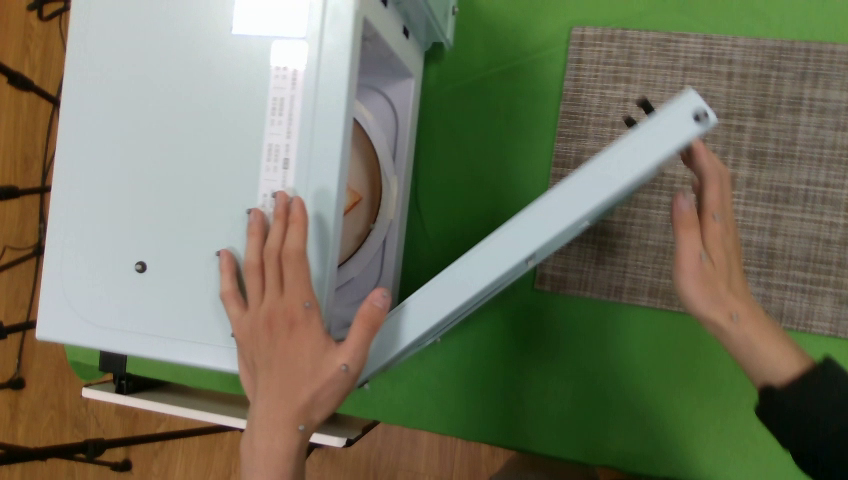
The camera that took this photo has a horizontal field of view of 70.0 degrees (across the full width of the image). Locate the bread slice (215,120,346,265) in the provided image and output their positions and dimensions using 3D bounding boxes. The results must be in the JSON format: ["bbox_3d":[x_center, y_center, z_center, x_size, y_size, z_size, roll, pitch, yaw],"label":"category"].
[{"bbox_3d":[-0.157,-0.055,0.621,0.105,0.019,0.131,-37,84,11],"label":"bread slice"}]

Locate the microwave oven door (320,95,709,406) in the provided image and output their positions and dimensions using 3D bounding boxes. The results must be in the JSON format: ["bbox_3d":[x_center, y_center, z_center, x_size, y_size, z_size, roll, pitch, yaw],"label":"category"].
[{"bbox_3d":[0.084,0.017,0.565,0.356,0.244,0.039,-39,80,9],"label":"microwave oven door"}]

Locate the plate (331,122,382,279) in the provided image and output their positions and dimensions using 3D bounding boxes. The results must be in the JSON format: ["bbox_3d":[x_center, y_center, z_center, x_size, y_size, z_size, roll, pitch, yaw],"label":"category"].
[{"bbox_3d":[-0.144,-0.048,0.676,0.207,0.039,0.207,0,89,12],"label":"plate"}]

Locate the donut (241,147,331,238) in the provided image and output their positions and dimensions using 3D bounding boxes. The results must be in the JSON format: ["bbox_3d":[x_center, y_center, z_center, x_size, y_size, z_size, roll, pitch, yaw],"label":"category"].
[{"bbox_3d":[-0.147,-0.050,0.646,0.099,0.048,0.099,0,89,9],"label":"donut"}]

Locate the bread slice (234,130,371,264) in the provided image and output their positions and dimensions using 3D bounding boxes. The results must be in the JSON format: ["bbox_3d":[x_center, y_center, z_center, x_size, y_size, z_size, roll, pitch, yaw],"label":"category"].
[{"bbox_3d":[-0.144,-0.054,0.677,0.134,0.018,0.107,44,89,-3],"label":"bread slice"}]

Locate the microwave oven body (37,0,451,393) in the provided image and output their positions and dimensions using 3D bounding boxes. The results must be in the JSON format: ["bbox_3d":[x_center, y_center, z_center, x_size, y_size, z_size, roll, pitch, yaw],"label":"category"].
[{"bbox_3d":[-0.164,-0.104,0.628,0.325,0.261,0.441,6,90,12],"label":"microwave oven body"}]

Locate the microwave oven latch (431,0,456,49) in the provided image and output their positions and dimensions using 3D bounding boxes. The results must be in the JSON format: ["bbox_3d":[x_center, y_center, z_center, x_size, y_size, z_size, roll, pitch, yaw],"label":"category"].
[{"bbox_3d":[0.020,-0.261,0.689,0.030,0.029,0.079,7,91,12],"label":"microwave oven latch"}]
